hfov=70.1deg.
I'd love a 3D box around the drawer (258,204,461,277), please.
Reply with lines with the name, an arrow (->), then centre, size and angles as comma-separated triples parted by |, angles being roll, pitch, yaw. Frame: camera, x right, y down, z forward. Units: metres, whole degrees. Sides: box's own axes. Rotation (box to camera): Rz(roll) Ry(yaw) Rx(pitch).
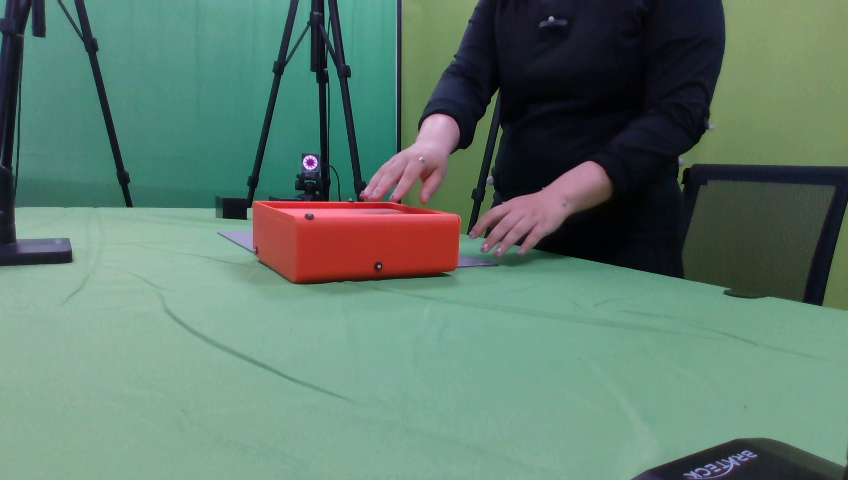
drawer -> -0.090, -0.005, 0.792 | 0.213, 0.073, 0.193 | -2, 10, -29

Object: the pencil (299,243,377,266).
pencil -> -0.105, 0.017, 0.790 | 0.012, 0.012, 0.195 | 6, 8, 22

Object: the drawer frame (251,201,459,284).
drawer frame -> -0.095, -0.005, 0.789 | 0.215, 0.082, 0.200 | -3, 10, -30
